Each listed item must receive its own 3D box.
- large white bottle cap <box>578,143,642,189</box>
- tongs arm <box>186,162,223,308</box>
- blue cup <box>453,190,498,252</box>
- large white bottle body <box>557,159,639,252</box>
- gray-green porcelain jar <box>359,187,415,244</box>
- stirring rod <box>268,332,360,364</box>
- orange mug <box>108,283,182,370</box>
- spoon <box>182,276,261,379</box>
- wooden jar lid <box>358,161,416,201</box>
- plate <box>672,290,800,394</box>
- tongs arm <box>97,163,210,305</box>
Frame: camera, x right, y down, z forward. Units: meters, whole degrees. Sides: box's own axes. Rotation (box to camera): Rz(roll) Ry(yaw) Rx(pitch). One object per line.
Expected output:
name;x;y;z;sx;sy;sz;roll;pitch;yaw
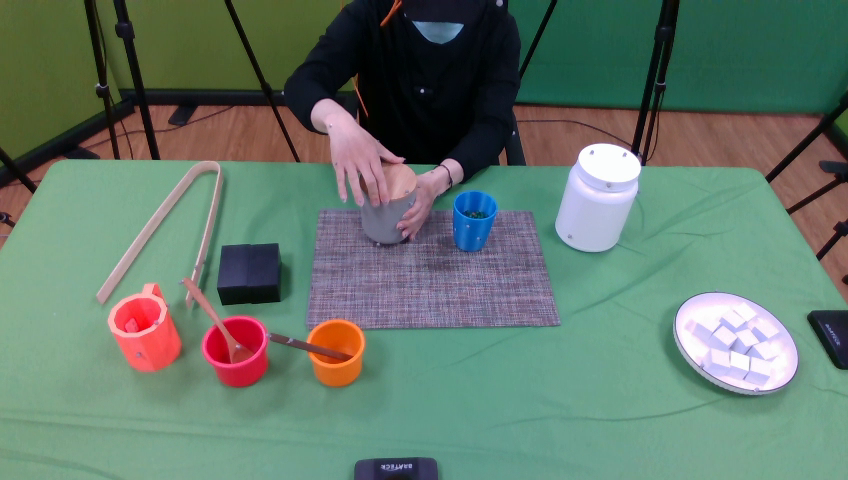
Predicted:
large white bottle cap;0.344;-0.139;1.124;0.115;0.018;0.114;2;46;-2
tongs arm;-0.436;-0.024;1.181;0.051;0.027;0.382;-3;45;0
blue cup;0.094;-0.032;1.174;0.093;0.101;0.092;3;45;-3
large white bottle body;0.340;-0.081;1.185;0.131;0.185;0.130;2;46;-1
gray-green porcelain jar;-0.071;-0.064;1.175;0.106;0.127;0.105;2;46;-2
stirring rod;-0.167;0.169;0.941;0.177;0.006;0.014;26;27;-40
orange mug;-0.446;0.134;0.983;0.083;0.101;0.125;-1;50;-5
spoon;-0.321;0.137;0.957;0.041;0.021;0.194;-36;102;-32
wooden jar lid;-0.068;-0.107;1.132;0.108;0.021;0.107;2;49;-3
plate;0.533;0.178;1.050;0.208;0.039;0.206;2;46;-2
tongs arm;-0.520;-0.026;1.184;0.028;0.028;0.385;4;45;13
